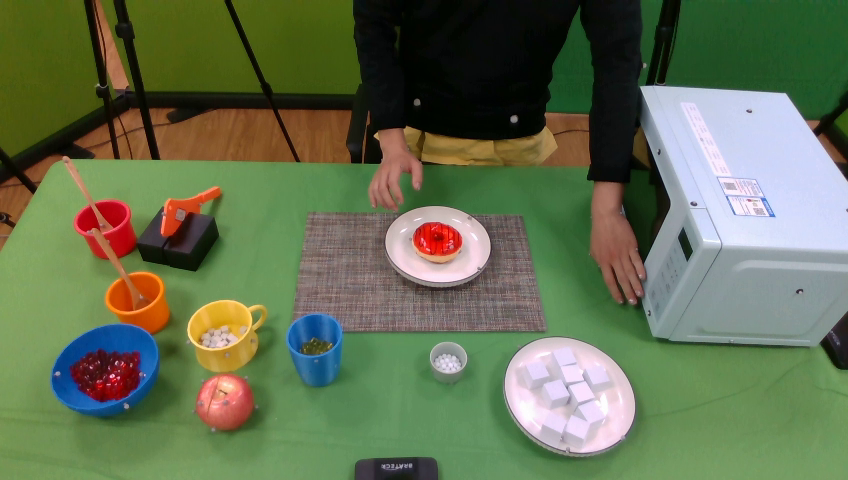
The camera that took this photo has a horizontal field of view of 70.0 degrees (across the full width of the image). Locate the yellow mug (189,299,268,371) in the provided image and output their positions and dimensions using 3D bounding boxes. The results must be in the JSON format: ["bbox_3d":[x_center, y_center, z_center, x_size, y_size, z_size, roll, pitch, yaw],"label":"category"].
[{"bbox_3d":[-0.316,0.148,1.002,0.131,0.064,0.099,-32,56,-31],"label":"yellow mug"}]

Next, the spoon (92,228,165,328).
[{"bbox_3d":[-0.496,0.063,1.014,0.041,0.194,0.021,-33,12,-31],"label":"spoon"}]

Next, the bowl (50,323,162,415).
[{"bbox_3d":[-0.472,0.209,0.924,0.151,0.077,0.150,3,45,-2],"label":"bowl"}]

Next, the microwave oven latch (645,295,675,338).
[{"bbox_3d":[0.412,0.134,1.061,0.030,0.029,0.078,3,45,0],"label":"microwave oven latch"}]

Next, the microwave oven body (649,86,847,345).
[{"bbox_3d":[0.568,-0.053,1.118,0.326,0.261,0.439,2,45,-1],"label":"microwave oven body"}]

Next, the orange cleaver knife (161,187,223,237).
[{"bbox_3d":[-0.448,-0.058,1.180,0.012,0.077,0.211,13,17,6],"label":"orange cleaver knife"}]

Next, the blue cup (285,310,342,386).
[{"bbox_3d":[-0.169,0.179,0.958,0.093,0.101,0.092,1,44,-1],"label":"blue cup"}]

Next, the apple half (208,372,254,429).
[{"bbox_3d":[-0.282,0.244,0.908,0.053,0.075,0.080,7,43,-1],"label":"apple half"}]

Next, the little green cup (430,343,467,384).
[{"bbox_3d":[0.039,0.203,0.994,0.061,0.039,0.061,2,46,-2],"label":"little green cup"}]

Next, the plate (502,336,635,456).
[{"bbox_3d":[0.225,0.248,0.963,0.208,0.039,0.206,2,46,-2],"label":"plate"}]

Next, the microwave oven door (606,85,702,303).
[{"bbox_3d":[0.423,-0.094,1.140,0.039,0.245,0.353,2,46,-1],"label":"microwave oven door"}]

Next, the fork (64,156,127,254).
[{"bbox_3d":[-0.614,-0.064,1.130,0.028,0.018,0.207,-29,97,-16],"label":"fork"}]

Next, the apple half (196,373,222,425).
[{"bbox_3d":[-0.322,0.239,0.907,0.033,0.081,0.081,7,46,-1],"label":"apple half"}]

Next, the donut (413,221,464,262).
[{"bbox_3d":[0.028,0.003,1.166,0.099,0.048,0.098,2,43,-2],"label":"donut"}]

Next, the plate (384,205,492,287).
[{"bbox_3d":[0.027,0.016,1.169,0.209,0.038,0.208,2,46,-2],"label":"plate"}]
